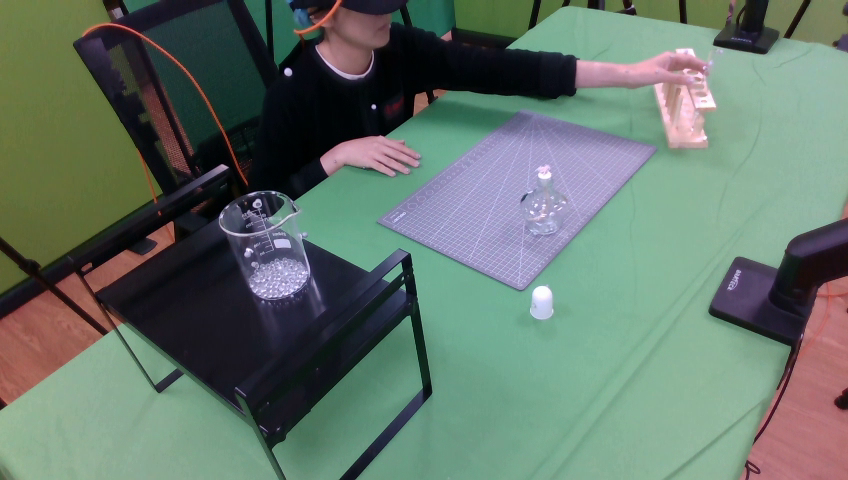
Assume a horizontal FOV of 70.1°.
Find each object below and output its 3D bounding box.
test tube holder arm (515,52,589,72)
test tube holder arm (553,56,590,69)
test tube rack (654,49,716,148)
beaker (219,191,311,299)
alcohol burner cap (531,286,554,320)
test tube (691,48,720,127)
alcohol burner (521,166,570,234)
[{"bbox_3d":[0.276,-0.390,1.318,0.177,0.015,0.013,21,55,31],"label":"test tube holder arm"},{"bbox_3d":[0.315,-0.380,1.297,0.087,0.015,0.010,22,55,32],"label":"test tube holder arm"},{"bbox_3d":[0.502,-0.280,1.176,0.066,0.085,0.241,2,41,11],"label":"test tube rack"},{"bbox_3d":[-0.164,0.008,0.654,0.084,0.101,0.073,-10,41,-3],"label":"beaker"},{"bbox_3d":[0.164,0.084,0.838,0.034,0.048,0.033,-4,40,4],"label":"alcohol burner cap"},{"bbox_3d":[0.505,-0.270,1.088,0.017,0.151,0.017,-1,40,2],"label":"test tube"},{"bbox_3d":[0.192,-0.068,0.951,0.078,0.119,0.077,-4,43,4],"label":"alcohol burner"}]
